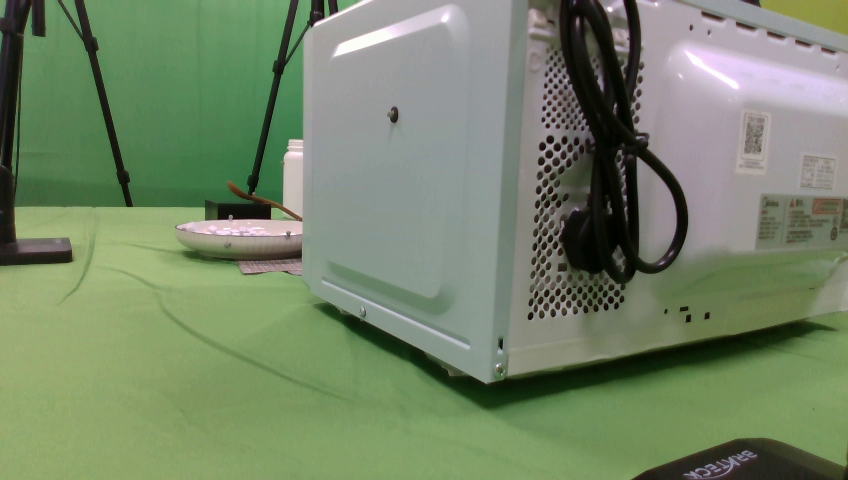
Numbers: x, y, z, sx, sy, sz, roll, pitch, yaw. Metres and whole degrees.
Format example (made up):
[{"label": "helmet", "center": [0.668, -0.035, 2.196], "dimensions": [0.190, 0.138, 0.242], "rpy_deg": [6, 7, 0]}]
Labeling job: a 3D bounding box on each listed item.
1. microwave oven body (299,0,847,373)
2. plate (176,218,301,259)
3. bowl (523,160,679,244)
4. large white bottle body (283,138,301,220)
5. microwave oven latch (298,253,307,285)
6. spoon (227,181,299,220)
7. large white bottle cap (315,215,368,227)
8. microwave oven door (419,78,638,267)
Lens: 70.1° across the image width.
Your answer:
[{"label": "microwave oven body", "center": [0.151, -0.055, 0.542], "dimensions": [0.444, 0.260, 0.324], "rpy_deg": [-2, 7, -33]}, {"label": "plate", "center": [-0.248, -0.003, 0.877], "dimensions": [0.209, 0.038, 0.209], "rpy_deg": [1, 8, 0]}, {"label": "bowl", "center": [0.173, -0.039, 0.609], "dimensions": [0.151, 0.077, 0.151], "rpy_deg": [2, 7, 0]}, {"label": "large white bottle body", "center": [-0.265, -0.144, 1.423], "dimensions": [0.131, 0.184, 0.130], "rpy_deg": [2, 8, 0]}, {"label": "microwave oven latch", "center": [-0.081, 0.027, 0.582], "dimensions": [0.079, 0.029, 0.030], "rpy_deg": [-1, 7, -32]}, {"label": "spoon", "center": [-0.315, -0.074, 1.235], "dimensions": [0.195, 0.021, 0.041], "rpy_deg": [24, -10, -37]}, {"label": "large white bottle cap", "center": [-0.177, -0.041, 1.308], "dimensions": [0.115, 0.018, 0.115], "rpy_deg": [2, 6, 0]}, {"label": "microwave oven door", "center": [0.133, -0.105, 0.894], "dimensions": [0.354, 0.243, 0.039], "rpy_deg": [9, 10, 43]}]
